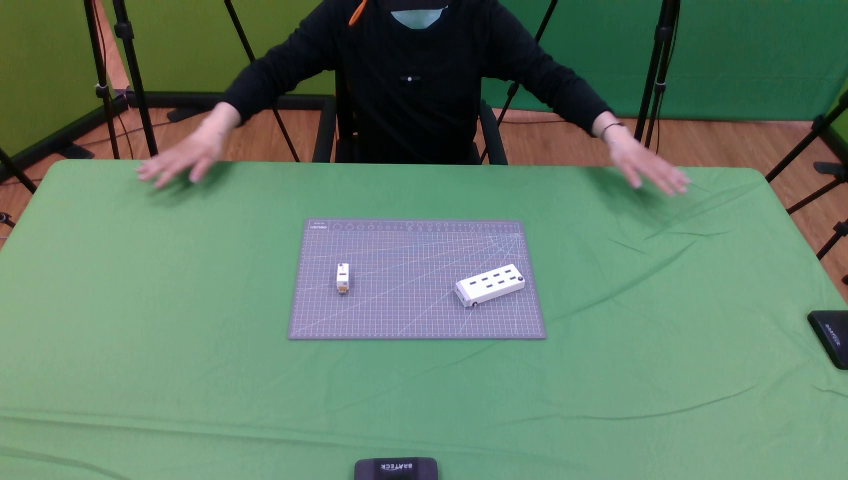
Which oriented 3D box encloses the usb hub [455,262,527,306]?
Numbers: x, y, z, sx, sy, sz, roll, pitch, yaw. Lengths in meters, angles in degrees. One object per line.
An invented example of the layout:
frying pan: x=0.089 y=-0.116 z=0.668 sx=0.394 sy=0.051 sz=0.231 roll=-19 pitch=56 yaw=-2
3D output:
usb hub: x=0.124 y=0.082 z=1.117 sx=0.125 sy=0.025 sz=0.049 roll=-17 pitch=50 yaw=-18

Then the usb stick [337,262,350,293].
usb stick: x=-0.148 y=0.071 z=1.109 sx=0.021 sy=0.027 sz=0.059 roll=1 pitch=49 yaw=-5
